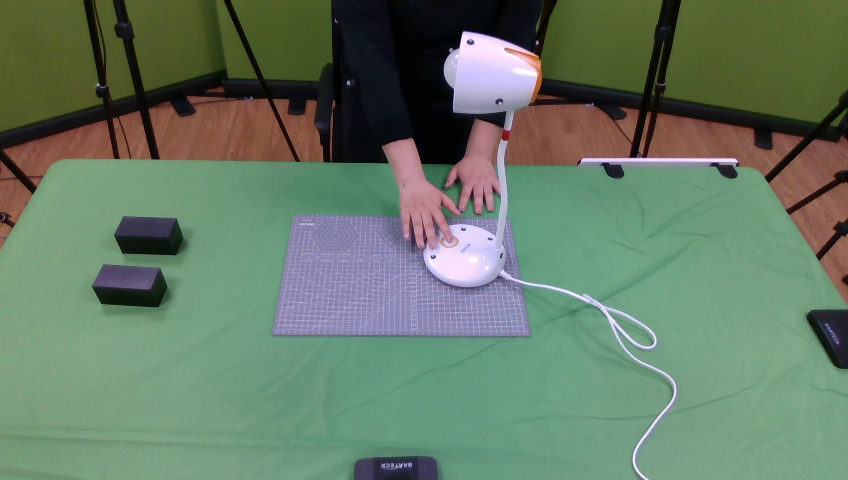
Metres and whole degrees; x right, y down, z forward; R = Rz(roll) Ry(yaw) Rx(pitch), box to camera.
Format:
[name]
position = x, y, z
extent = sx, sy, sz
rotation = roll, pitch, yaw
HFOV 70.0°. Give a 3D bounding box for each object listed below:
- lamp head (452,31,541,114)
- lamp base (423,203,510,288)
[lamp head]
position = 0.102, -0.228, 0.858
extent = 0.123, 0.113, 0.112
rotation = 11, 46, 0
[lamp base]
position = 0.092, -0.021, 1.111
extent = 0.179, 0.181, 0.160
rotation = 23, 49, 14
